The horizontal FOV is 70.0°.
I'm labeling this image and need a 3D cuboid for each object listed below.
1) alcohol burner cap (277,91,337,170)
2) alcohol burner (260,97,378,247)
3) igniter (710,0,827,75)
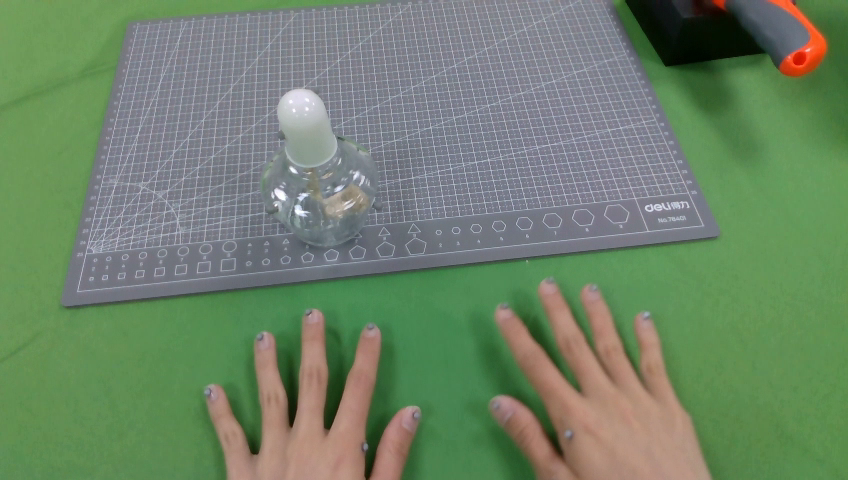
[{"bbox_3d":[-0.072,-0.068,0.359,0.034,0.048,0.033,0,60,0],"label":"alcohol burner cap"},{"bbox_3d":[-0.070,-0.048,0.389,0.078,0.120,0.077,0,58,1],"label":"alcohol burner"},{"bbox_3d":[0.248,-0.230,0.507,0.057,0.025,0.273,-12,55,-4],"label":"igniter"}]
